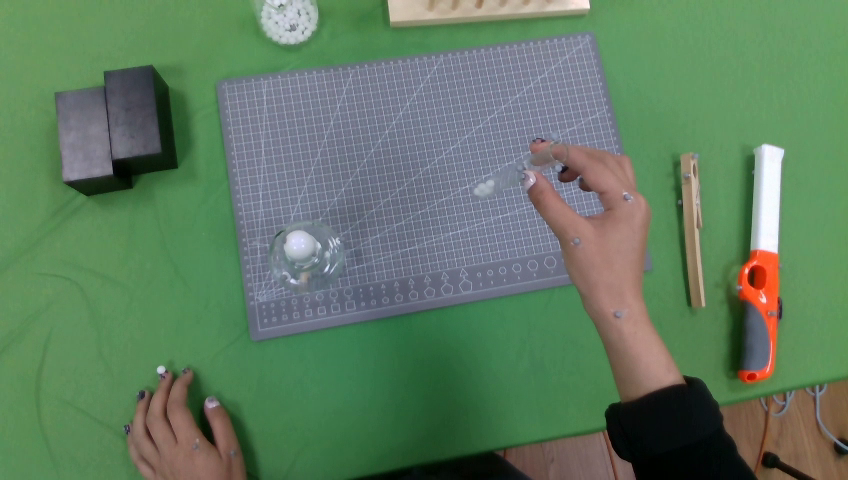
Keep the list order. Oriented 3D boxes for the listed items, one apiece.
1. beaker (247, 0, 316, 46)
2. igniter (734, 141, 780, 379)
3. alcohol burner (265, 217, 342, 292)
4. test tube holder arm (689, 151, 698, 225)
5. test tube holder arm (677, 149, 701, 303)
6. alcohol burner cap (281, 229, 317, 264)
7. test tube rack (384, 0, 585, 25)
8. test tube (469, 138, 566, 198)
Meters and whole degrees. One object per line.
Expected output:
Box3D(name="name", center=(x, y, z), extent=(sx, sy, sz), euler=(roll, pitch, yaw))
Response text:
Box3D(name="beaker", center=(-0.158, -0.265, 0.666), extent=(0.074, 0.100, 0.083), euler=(-7, 80, -5))
Box3D(name="igniter", center=(0.381, 0.020, 0.689), extent=(0.057, 0.025, 0.275), euler=(12, 79, -12))
Box3D(name="alcohol burner", center=(-0.122, 0.011, 0.607), extent=(0.078, 0.119, 0.077), euler=(1, 77, -5))
Box3D(name="test tube holder arm", center=(0.309, -0.060, 0.705), extent=(0.010, 0.015, 0.087), euler=(8, 78, -33))
Box3D(name="test tube holder arm", center=(0.304, -0.017, 0.694), extent=(0.013, 0.015, 0.177), euler=(7, 78, -34))
Box3D(name="alcohol burner cap", center=(-0.119, 0.006, 0.571), extent=(0.034, 0.048, 0.034), euler=(1, 84, -6))
Box3D(name="test tube rack", center=(0.075, -0.309, 0.699), extent=(0.243, 0.085, 0.066), euler=(-6, 80, -5))
Box3D(name="test tube", center=(0.069, -0.054, 0.489), extent=(0.017, 0.150, 0.017), euler=(2, 82, -18))
